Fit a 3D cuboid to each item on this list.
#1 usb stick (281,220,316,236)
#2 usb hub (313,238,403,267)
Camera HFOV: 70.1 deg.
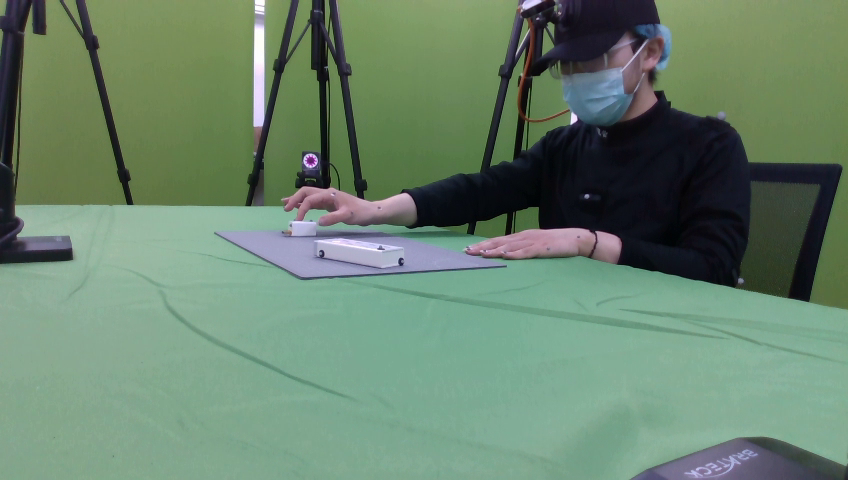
[{"bbox_3d":[-0.219,-0.021,1.054,0.059,0.027,0.021,-6,11,-31],"label":"usb stick"},{"bbox_3d":[-0.091,0.016,0.818,0.124,0.025,0.050,7,9,36],"label":"usb hub"}]
